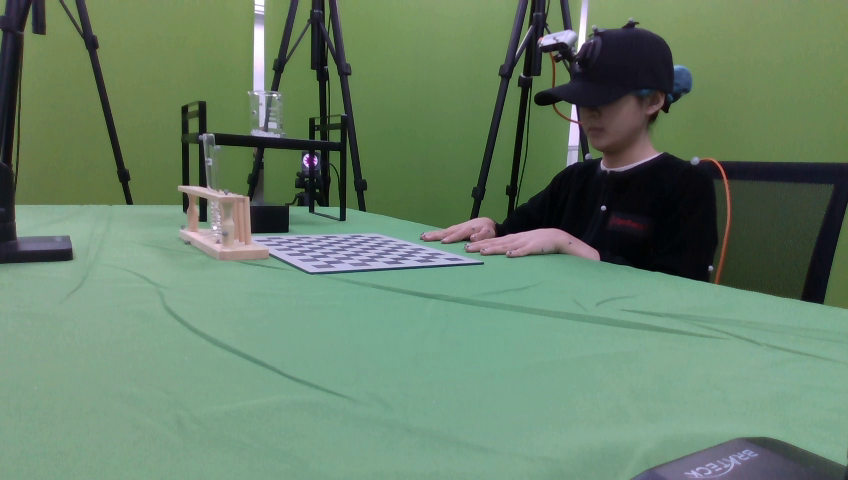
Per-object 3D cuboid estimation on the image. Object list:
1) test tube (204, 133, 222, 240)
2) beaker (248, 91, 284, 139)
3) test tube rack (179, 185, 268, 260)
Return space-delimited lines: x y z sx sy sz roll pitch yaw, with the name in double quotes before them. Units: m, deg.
"test tube" -0.295 -0.075 0.849 0.017 0.150 0.017 -3 5 1
"beaker" -0.353 -0.277 1.343 0.073 0.100 0.084 8 9 39
"test tube rack" -0.303 -0.031 0.898 0.067 0.085 0.241 -2 9 -33
